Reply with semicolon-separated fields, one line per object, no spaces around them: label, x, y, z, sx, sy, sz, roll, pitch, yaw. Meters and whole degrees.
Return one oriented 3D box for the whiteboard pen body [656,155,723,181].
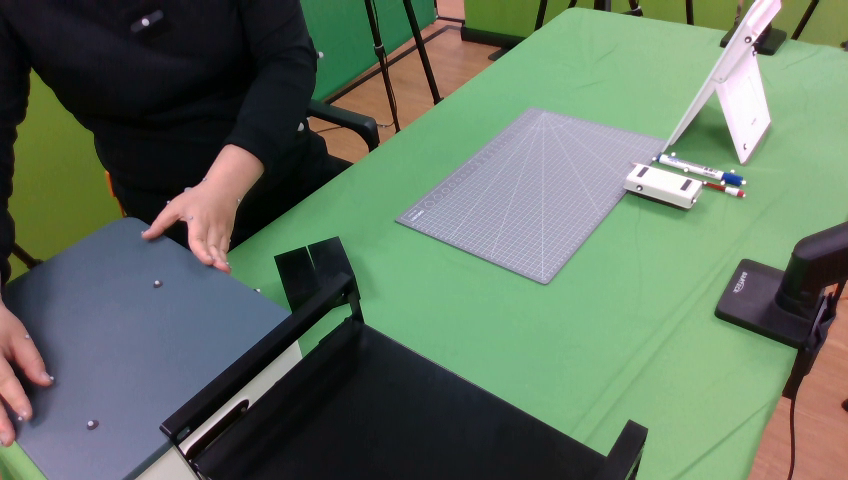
whiteboard pen body;0.475;-0.123;1.052;0.139;0.017;0.017;24;50;31

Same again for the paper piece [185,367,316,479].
paper piece;-0.222;0.234;0.757;0.136;0.009;0.137;-39;36;-23

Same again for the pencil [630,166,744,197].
pencil;0.447;-0.103;1.039;0.192;0.012;0.012;21;48;30

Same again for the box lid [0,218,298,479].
box lid;-0.346;0.103;0.675;0.368;0.015;0.264;24;49;31

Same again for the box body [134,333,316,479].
box body;-0.339;0.162;0.728;0.361;0.161;0.255;23;49;31

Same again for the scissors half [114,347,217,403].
scissors half;-0.349;0.185;0.812;0.174;0.013;0.040;16;52;18

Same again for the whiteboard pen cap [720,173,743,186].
whiteboard pen cap;0.519;-0.103;1.020;0.033;0.018;0.018;23;49;30

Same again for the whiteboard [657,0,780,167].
whiteboard;0.571;-0.272;1.038;0.143;0.306;0.218;37;54;17

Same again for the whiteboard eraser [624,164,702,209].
whiteboard eraser;0.396;-0.087;1.003;0.112;0.042;0.056;22;48;31

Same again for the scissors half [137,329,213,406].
scissors half;-0.336;0.173;0.824;0.040;0.013;0.174;-35;54;-30
